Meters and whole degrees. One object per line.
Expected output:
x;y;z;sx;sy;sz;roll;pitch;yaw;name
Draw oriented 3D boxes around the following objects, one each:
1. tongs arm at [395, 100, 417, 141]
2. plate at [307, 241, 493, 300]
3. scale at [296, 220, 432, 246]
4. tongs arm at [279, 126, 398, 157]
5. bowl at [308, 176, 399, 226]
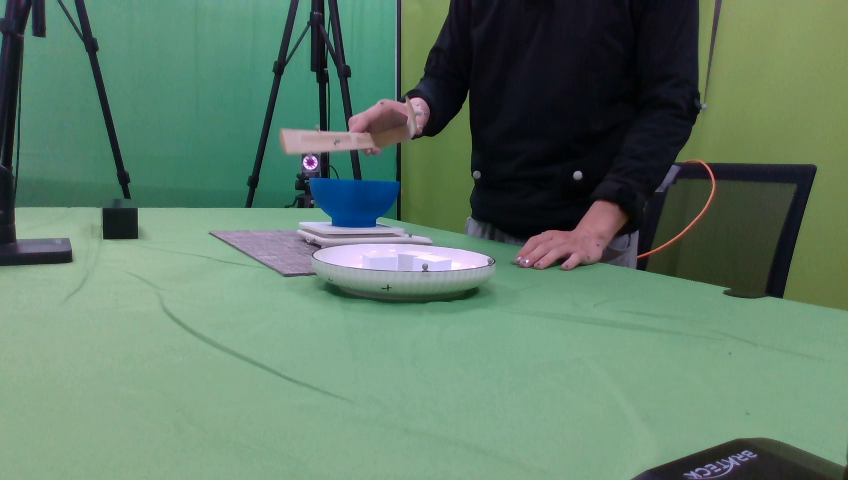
-0.025;-0.152;0.796;0.028;0.028;0.387;-19;8;0;tongs arm
-0.026;0.034;0.684;0.208;0.039;0.207;2;7;0;plate
-0.101;-0.012;1.017;0.202;0.031;0.148;-1;8;-30;scale
-0.096;-0.136;0.804;0.051;0.026;0.385;-15;7;11;tongs arm
-0.116;-0.064;1.001;0.151;0.077;0.151;2;6;0;bowl
